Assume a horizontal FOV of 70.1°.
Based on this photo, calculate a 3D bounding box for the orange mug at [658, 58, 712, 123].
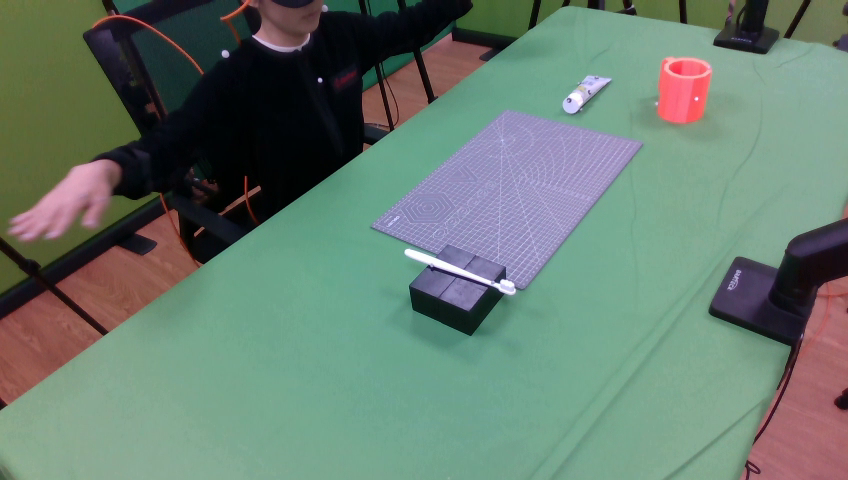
[{"bbox_3d":[0.504,-0.304,1.193,0.083,0.101,0.125,-13,45,-5],"label":"orange mug"}]

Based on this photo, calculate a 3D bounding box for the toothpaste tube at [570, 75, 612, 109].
[{"bbox_3d":[0.351,-0.319,1.290,0.054,0.034,0.165,22,44,24],"label":"toothpaste tube"}]

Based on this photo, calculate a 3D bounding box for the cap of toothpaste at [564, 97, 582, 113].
[{"bbox_3d":[0.306,-0.278,1.239,0.037,0.037,0.011,17,43,26],"label":"cap of toothpaste"}]

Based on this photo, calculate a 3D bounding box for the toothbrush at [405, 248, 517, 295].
[{"bbox_3d":[0.048,0.041,0.850,0.180,0.017,0.014,19,52,28],"label":"toothbrush"}]
